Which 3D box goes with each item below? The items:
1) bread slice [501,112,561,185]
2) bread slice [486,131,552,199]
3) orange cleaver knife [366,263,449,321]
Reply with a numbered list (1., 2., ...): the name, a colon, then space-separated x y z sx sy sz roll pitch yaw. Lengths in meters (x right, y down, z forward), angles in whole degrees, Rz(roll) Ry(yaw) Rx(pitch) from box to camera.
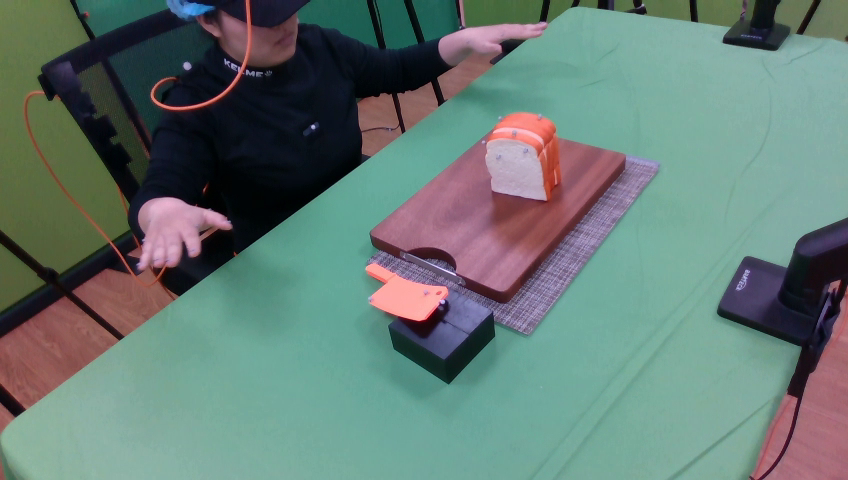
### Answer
1. bread slice: 0.176 -0.150 1.002 0.106 0.135 0.018 16 51 23
2. bread slice: 0.149 -0.119 0.973 0.104 0.132 0.019 11 54 27
3. orange cleaver knife: -0.042 0.072 0.870 0.077 0.012 0.209 -37 28 -23
